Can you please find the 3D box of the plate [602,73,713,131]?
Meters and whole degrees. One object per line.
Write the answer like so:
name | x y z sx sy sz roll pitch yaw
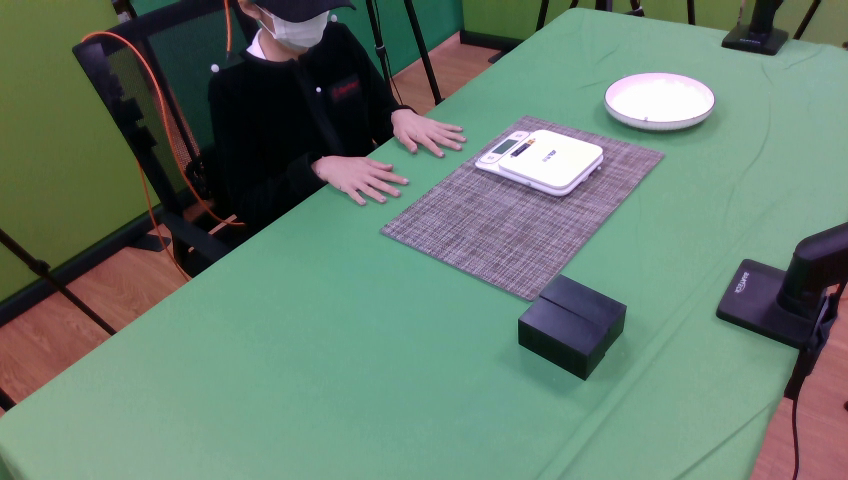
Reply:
plate | 0.463 -0.271 1.210 0.207 0.039 0.206 -4 40 4

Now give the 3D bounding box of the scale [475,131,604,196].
scale | 0.209 -0.148 1.105 0.199 0.032 0.149 26 50 34
